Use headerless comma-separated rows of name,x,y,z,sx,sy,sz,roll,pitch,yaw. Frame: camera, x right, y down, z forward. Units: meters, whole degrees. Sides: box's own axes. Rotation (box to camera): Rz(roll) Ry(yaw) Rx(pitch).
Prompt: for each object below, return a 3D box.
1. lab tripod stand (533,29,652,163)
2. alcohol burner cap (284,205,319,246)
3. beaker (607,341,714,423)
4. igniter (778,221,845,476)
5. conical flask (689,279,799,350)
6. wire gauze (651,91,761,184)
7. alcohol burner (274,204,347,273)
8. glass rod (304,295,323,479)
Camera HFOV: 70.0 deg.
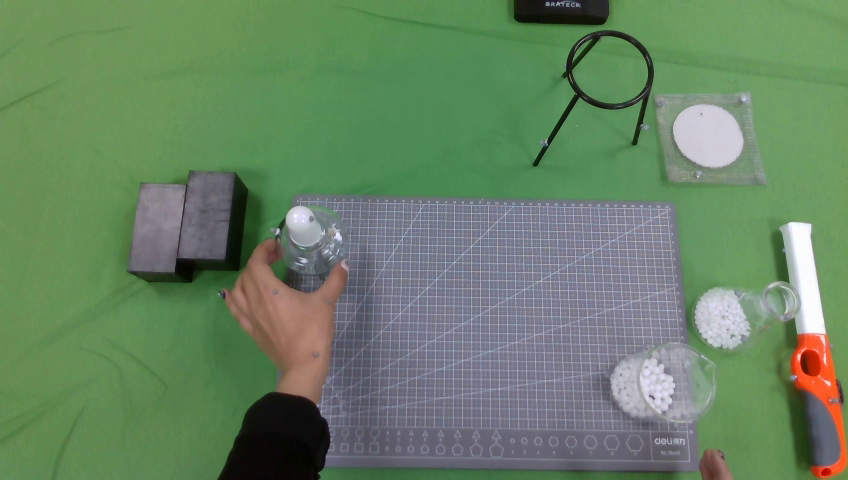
lab tripod stand,0.186,-0.156,0.679,0.148,0.132,0.147,0,76,-1
alcohol burner cap,-0.124,-0.017,0.604,0.034,0.048,0.033,1,67,-2
beaker,0.235,0.143,0.613,0.084,0.101,0.073,-22,76,-7
igniter,0.424,0.112,0.665,0.057,0.025,0.275,5,74,-12
conical flask,0.334,0.071,0.626,0.075,0.122,0.075,0,74,0
wire gauze,0.345,-0.126,0.739,0.125,0.011,0.121,0,75,-3
alcohol burner,-0.123,-0.006,0.638,0.078,0.119,0.077,0,75,2
glass rod,-0.117,0.157,0.648,0.008,0.008,0.199,2,78,-1
